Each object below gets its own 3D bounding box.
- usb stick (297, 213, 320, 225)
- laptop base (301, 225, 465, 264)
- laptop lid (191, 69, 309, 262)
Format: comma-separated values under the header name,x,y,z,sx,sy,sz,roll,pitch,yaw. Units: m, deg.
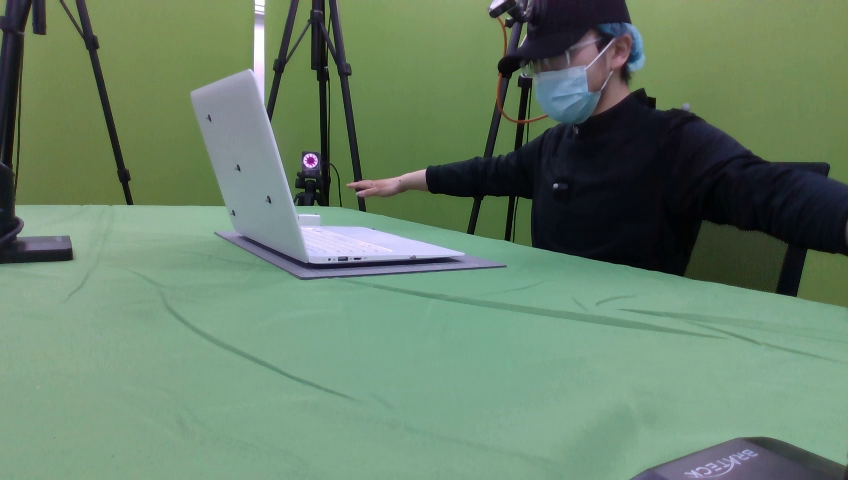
name,x,y,z,sx,sy,sz,roll,pitch,yaw
usb stick,-0.242,-0.040,1.221,0.059,0.027,0.021,-5,11,-28
laptop base,-0.128,0.005,0.937,0.237,0.023,0.352,2,6,-32
laptop lid,-0.254,-0.103,0.842,0.013,0.242,0.355,-22,20,-27
